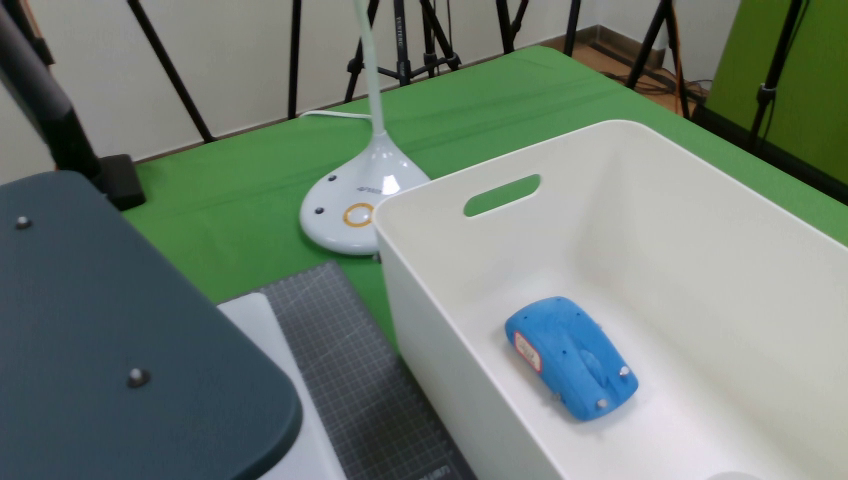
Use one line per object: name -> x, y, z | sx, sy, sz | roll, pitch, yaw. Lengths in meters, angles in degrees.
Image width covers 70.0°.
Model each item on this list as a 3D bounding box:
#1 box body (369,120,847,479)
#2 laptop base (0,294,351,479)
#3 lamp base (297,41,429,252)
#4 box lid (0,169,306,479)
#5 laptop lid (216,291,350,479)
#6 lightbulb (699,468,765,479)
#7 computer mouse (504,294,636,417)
box body -> 0.151, 0.089, 0.421 | 0.254, 0.162, 0.360 | -21, 43, -20
laptop base -> -0.257, 0.179, 0.456 | 0.355, 0.023, 0.233 | -21, 47, -19
lamp base -> -0.068, -0.107, 0.653 | 0.160, 0.182, 0.177 | 1, 38, 6
box lid -> -0.262, 0.064, 0.315 | 0.263, 0.015, 0.367 | -29, 42, -33
laptop lid -> -0.257, 0.172, 0.447 | 0.357, 0.013, 0.239 | -20, 45, -18
lightbulb -> 0.217, 0.190, 0.377 | 0.107, 0.060, 0.059 | 37, 53, 14
computer mouse -> 0.120, 0.090, 0.507 | 0.063, 0.041, 0.116 | -20, 48, -21
